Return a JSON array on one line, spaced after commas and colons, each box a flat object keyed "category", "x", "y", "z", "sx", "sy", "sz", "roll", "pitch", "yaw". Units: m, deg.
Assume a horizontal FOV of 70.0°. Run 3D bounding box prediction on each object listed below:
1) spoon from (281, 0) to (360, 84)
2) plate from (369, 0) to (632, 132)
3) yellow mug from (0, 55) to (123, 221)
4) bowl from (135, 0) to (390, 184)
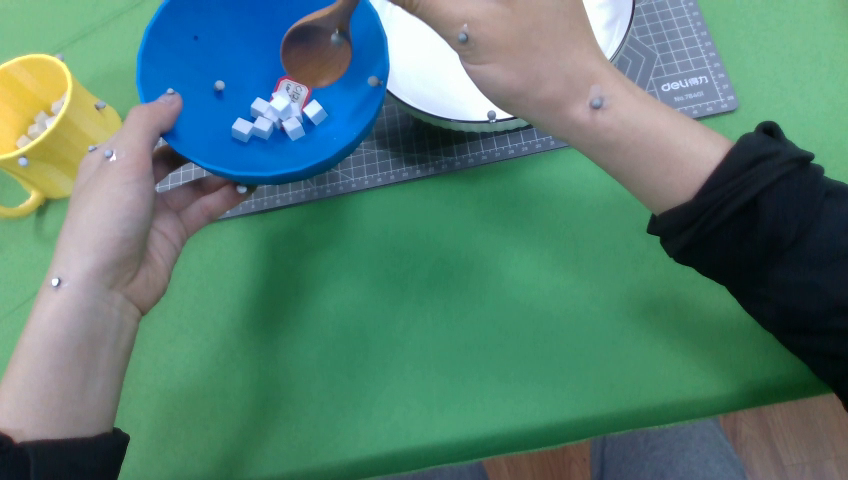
[{"category": "spoon", "x": -0.033, "y": -0.126, "z": 0.299, "sx": 0.042, "sy": 0.193, "sz": 0.021, "roll": 19, "pitch": 72, "yaw": -21}, {"category": "plate", "x": 0.051, "y": -0.169, "z": 0.468, "sx": 0.209, "sy": 0.038, "sz": 0.207, "roll": -4, "pitch": 67, "yaw": 10}, {"category": "yellow mug", "x": -0.318, "y": -0.077, "z": 0.492, "sx": 0.099, "sy": 0.064, "sz": 0.130, "roll": 11, "pitch": 71, "yaw": 15}, {"category": "bowl", "x": -0.096, "y": -0.097, "z": 0.397, "sx": 0.151, "sy": 0.077, "sz": 0.150, "roll": 1, "pitch": 75, "yaw": -2}]
